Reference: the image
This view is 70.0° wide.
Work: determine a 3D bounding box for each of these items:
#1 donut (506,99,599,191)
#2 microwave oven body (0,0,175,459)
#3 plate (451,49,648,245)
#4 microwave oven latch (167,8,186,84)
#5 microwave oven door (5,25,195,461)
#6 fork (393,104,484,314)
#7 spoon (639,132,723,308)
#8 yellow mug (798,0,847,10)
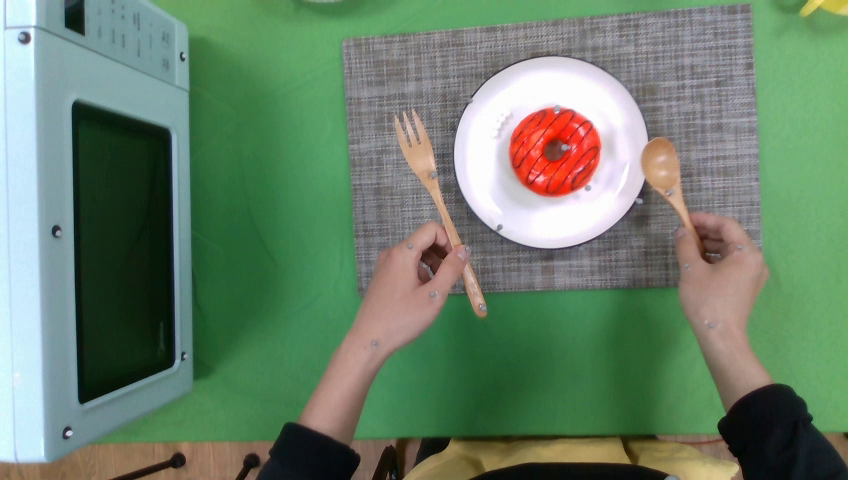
[{"bbox_3d":[0.137,-0.101,0.648,0.099,0.048,0.099,1,94,9],"label":"donut"},{"bbox_3d":[-0.450,-0.041,0.622,0.326,0.260,0.442,0,93,7],"label":"microwave oven body"},{"bbox_3d":[0.134,-0.099,0.660,0.209,0.038,0.209,0,93,7],"label":"plate"},{"bbox_3d":[-0.290,-0.221,0.691,0.030,0.029,0.079,1,93,7],"label":"microwave oven latch"},{"bbox_3d":[-0.306,0.002,0.601,0.039,0.244,0.356,0,92,7],"label":"microwave oven door"},{"bbox_3d":[0.017,-0.025,0.564,0.028,0.018,0.208,-24,97,-15],"label":"fork"},{"bbox_3d":[0.267,-0.018,0.620,0.042,0.021,0.193,-23,89,-17],"label":"spoon"},{"bbox_3d":[0.430,-0.282,0.604,0.100,0.064,0.131,45,98,3],"label":"yellow mug"}]
